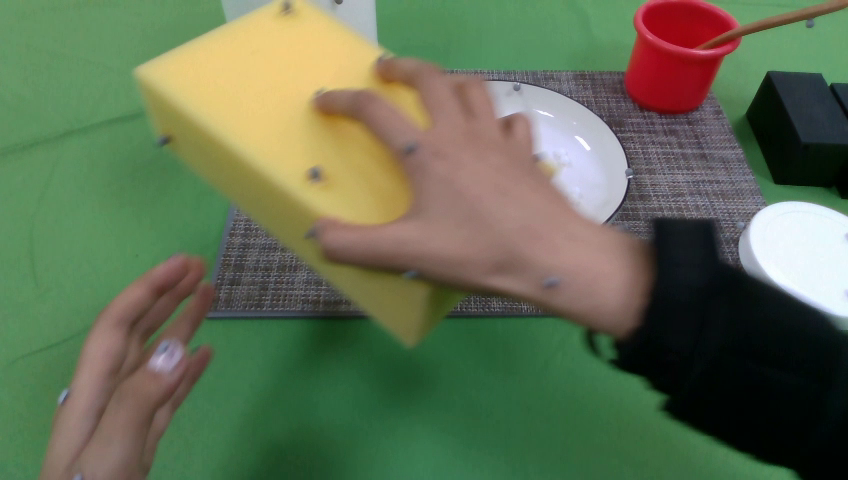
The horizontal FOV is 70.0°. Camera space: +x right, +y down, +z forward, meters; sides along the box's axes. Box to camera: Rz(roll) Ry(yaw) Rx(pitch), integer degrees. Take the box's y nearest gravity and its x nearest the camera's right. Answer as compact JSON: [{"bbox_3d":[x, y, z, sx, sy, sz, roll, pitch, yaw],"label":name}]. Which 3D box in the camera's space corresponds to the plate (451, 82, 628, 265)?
[{"bbox_3d":[0.063,-0.057,0.512,0.209,0.038,0.207,1,50,-1],"label":"plate"}]

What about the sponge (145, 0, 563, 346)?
[{"bbox_3d":[-0.042,-0.051,0.353,0.205,0.061,0.118,37,58,17],"label":"sponge"}]

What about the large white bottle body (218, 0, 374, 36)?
[{"bbox_3d":[-0.109,-0.202,0.530,0.130,0.186,0.129,1,51,0],"label":"large white bottle body"}]

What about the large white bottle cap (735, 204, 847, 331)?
[{"bbox_3d":[0.304,0.019,0.473,0.115,0.018,0.113,3,51,-3],"label":"large white bottle cap"}]

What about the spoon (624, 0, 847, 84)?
[{"bbox_3d":[0.271,-0.177,0.549,0.022,0.193,0.041,54,55,-18],"label":"spoon"}]
